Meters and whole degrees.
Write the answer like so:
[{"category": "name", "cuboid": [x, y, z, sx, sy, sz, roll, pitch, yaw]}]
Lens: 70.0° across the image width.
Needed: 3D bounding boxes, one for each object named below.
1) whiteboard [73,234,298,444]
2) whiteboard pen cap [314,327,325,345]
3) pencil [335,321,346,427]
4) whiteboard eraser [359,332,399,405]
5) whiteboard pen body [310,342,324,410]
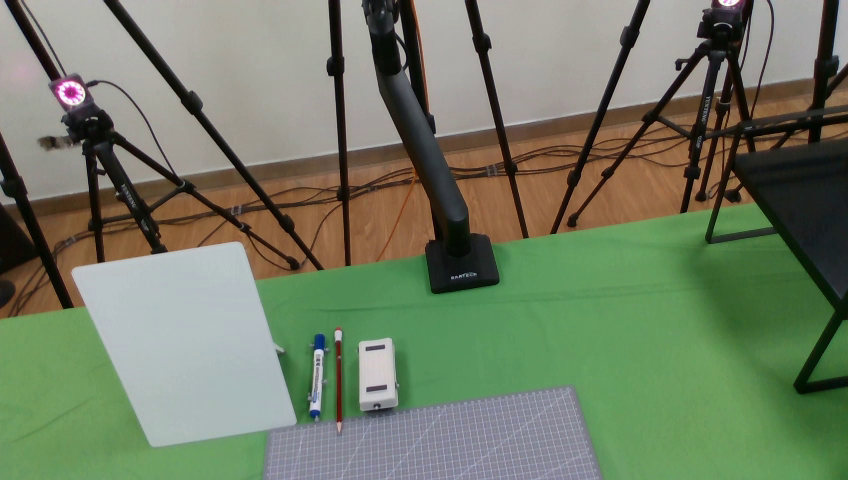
[{"category": "whiteboard", "cuboid": [-0.314, 0.117, 0.880, 0.217, 0.308, 0.142, -8, 26, 1]}, {"category": "whiteboard pen cap", "cuboid": [-0.168, 0.157, 0.978, 0.018, 0.018, 0.033, -9, 44, 0]}, {"category": "pencil", "cuboid": [-0.128, 0.202, 0.934, 0.012, 0.012, 0.192, -10, 45, -2]}, {"category": "whiteboard eraser", "cuboid": [-0.070, 0.193, 0.912, 0.055, 0.042, 0.111, -9, 45, 1]}, {"category": "whiteboard pen body", "cuboid": [-0.165, 0.198, 0.937, 0.017, 0.017, 0.139, -7, 45, 1]}]
